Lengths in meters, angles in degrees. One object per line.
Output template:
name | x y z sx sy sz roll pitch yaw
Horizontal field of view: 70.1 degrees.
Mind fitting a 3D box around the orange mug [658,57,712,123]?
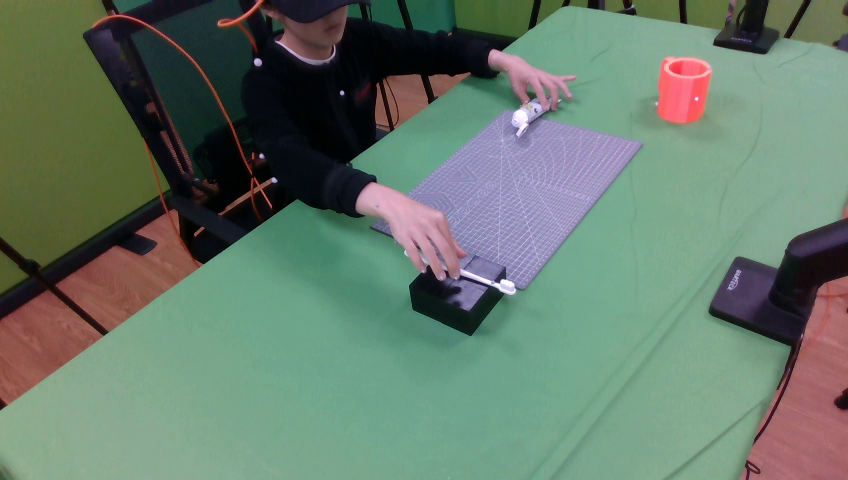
orange mug | 0.504 -0.304 1.193 0.083 0.101 0.125 -13 45 -5

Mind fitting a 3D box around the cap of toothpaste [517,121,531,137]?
cap of toothpaste | 0.195 -0.218 1.185 0.011 0.037 0.037 37 53 8

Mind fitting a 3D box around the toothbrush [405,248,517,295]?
toothbrush | 0.048 0.041 0.850 0.180 0.017 0.014 19 50 28

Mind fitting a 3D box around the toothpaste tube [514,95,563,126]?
toothpaste tube | 0.232 -0.271 1.250 0.054 0.034 0.165 23 40 25
